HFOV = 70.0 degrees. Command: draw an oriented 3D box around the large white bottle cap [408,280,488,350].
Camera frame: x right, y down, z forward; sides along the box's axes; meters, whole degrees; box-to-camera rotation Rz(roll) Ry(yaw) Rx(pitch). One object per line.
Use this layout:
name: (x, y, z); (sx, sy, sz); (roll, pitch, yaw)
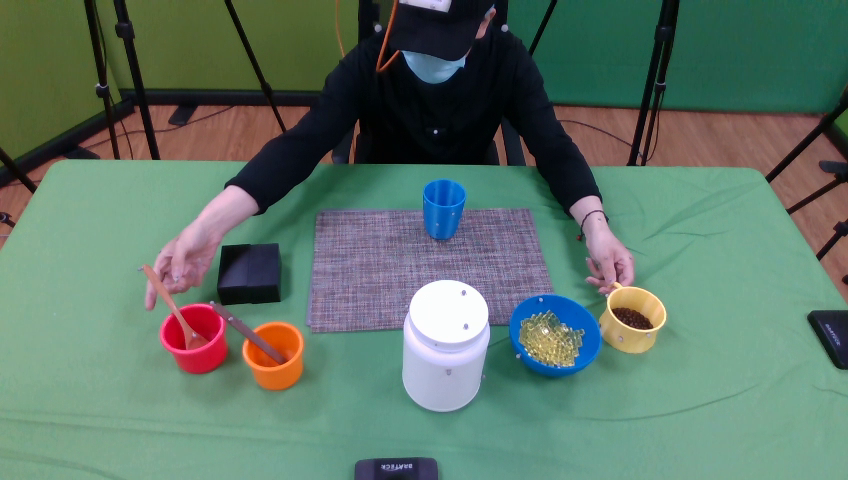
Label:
large white bottle cap: (0.034, 0.105, 0.867); (0.115, 0.018, 0.114); (2, 46, -1)

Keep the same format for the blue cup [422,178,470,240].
blue cup: (0.036, -0.056, 1.192); (0.093, 0.101, 0.092); (3, 45, -3)

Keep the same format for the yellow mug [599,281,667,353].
yellow mug: (0.360, 0.127, 1.068); (0.100, 0.064, 0.130); (-11, 46, -13)

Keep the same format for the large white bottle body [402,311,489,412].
large white bottle body: (0.031, 0.163, 0.928); (0.131, 0.185, 0.130); (2, 46, -1)

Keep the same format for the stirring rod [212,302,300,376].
stirring rod: (-0.261, 0.156, 0.948); (0.177, 0.006, 0.014); (45, 45, -19)

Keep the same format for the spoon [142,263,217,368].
spoon: (-0.392, 0.120, 0.968); (0.041, 0.021, 0.194); (-33, 100, -30)

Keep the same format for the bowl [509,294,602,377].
bowl: (0.211, 0.172, 1.007); (0.151, 0.077, 0.150); (2, 46, -2)
